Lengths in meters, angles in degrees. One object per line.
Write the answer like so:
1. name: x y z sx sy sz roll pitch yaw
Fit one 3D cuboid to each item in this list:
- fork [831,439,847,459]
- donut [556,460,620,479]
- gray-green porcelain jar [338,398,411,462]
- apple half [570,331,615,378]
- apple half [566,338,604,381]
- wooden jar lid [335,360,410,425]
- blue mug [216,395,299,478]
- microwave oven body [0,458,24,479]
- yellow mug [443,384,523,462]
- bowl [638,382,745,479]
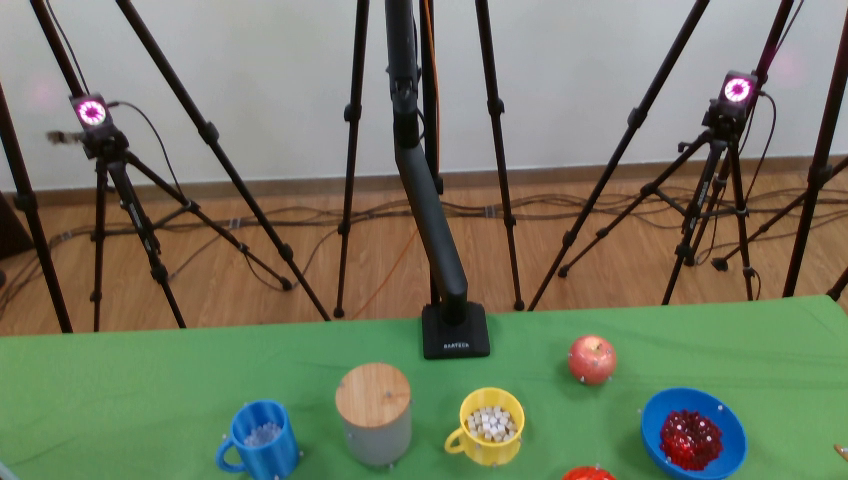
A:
1. fork: 0.616 0.339 0.823 0.208 0.018 0.028 47 50 -12
2. donut: 0.238 0.366 0.873 0.099 0.049 0.098 -1 45 1
3. gray-green porcelain jar: -0.074 0.269 0.926 0.106 0.127 0.105 0 44 1
4. apple half: 0.292 0.193 1.034 0.053 0.075 0.080 -23 44 -28
5. apple half: 0.262 0.209 1.016 0.033 0.082 0.080 -24 48 -28
6. wooden jar lid: -0.075 0.224 0.882 0.108 0.021 0.107 -1 42 1
7. blue mug: -0.252 0.303 0.909 0.117 0.107 0.081 -21 48 -19
8. microwave oven body: -0.650 0.475 0.623 0.326 0.262 0.437 -2 45 -1
9. yellow mug: 0.088 0.291 0.943 0.131 0.064 0.099 -20 47 -17
10. bowl: 0.394 0.301 0.917 0.151 0.077 0.150 -1 45 1
